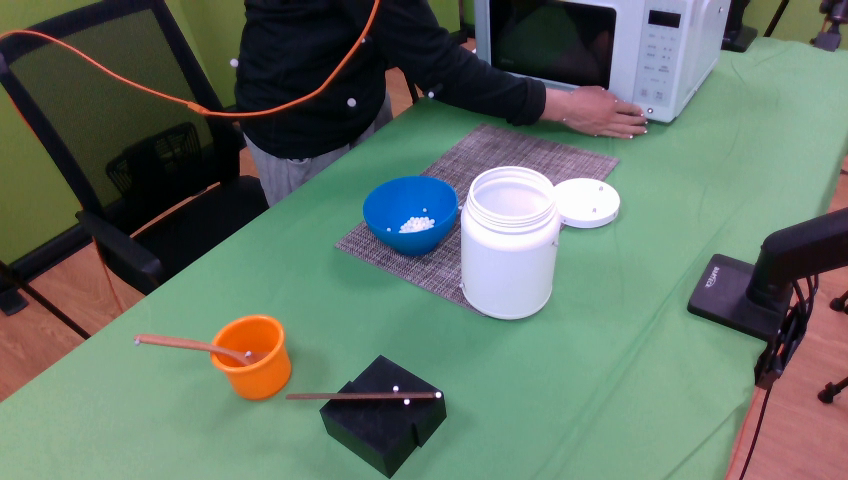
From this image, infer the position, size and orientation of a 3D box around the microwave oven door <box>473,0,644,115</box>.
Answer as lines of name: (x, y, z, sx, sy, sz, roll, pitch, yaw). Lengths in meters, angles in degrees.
microwave oven door: (0.257, -0.396, 1.199, 0.353, 0.245, 0.039, 21, 48, 29)

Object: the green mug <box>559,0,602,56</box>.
green mug: (0.332, -0.451, 1.294, 0.092, 0.105, 0.125, 10, 48, 21)

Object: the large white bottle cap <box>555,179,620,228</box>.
large white bottle cap: (0.265, -0.062, 1.001, 0.115, 0.018, 0.114, -4, 41, 4)

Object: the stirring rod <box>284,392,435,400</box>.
stirring rod: (-0.075, 0.180, 0.698, 0.176, 0.006, 0.014, -2, 6, 7)

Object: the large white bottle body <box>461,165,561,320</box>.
large white bottle body: (0.115, 0.004, 0.816, 0.130, 0.185, 0.130, -2, 43, 2)

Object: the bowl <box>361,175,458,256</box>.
bowl: (-0.019, -0.028, 0.955, 0.151, 0.077, 0.150, -4, 40, 4)

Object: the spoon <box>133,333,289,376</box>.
spoon: (-0.257, 0.137, 0.747, 0.021, 0.195, 0.041, -47, 40, 23)

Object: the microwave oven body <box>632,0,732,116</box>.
microwave oven body: (0.377, -0.463, 1.267, 0.438, 0.261, 0.327, 21, 49, 30)

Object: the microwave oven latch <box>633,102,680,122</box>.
microwave oven latch: (0.444, -0.250, 1.158, 0.078, 0.029, 0.030, 21, 49, 30)
